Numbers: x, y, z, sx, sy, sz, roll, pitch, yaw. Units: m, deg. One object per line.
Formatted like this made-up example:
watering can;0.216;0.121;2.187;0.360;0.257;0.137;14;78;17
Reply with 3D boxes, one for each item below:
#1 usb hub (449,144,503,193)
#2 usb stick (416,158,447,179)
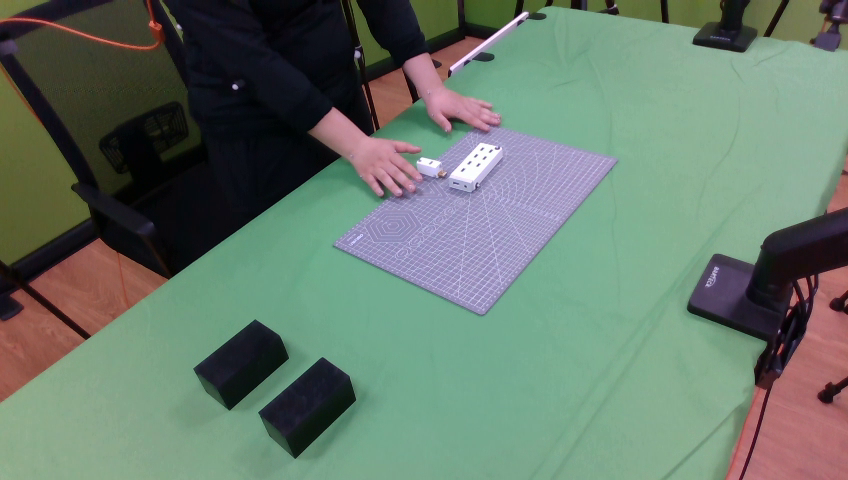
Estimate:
usb hub;0.096;-0.132;1.105;0.049;0.025;0.125;18;47;27
usb stick;0.016;-0.130;1.113;0.059;0.027;0.021;21;43;25
